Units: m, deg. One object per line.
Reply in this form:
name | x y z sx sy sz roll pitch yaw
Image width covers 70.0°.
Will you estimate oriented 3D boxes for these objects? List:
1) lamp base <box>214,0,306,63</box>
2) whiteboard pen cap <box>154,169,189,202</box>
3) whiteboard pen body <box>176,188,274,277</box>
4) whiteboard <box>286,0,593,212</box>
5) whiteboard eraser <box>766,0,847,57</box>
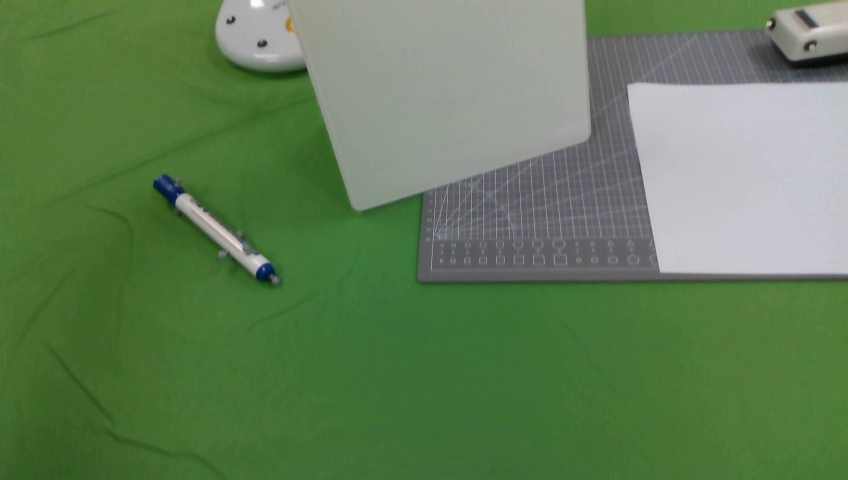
lamp base | -0.164 -0.298 0.603 0.177 0.182 0.160 35 64 30
whiteboard pen cap | -0.214 -0.045 0.518 0.033 0.018 0.018 37 65 22
whiteboard pen body | -0.170 -0.013 0.494 0.139 0.017 0.017 36 65 24
whiteboard | -0.003 -0.214 0.482 0.217 0.308 0.142 -18 34 -6
whiteboard eraser | 0.380 -0.198 0.553 0.113 0.042 0.055 -8 54 0
